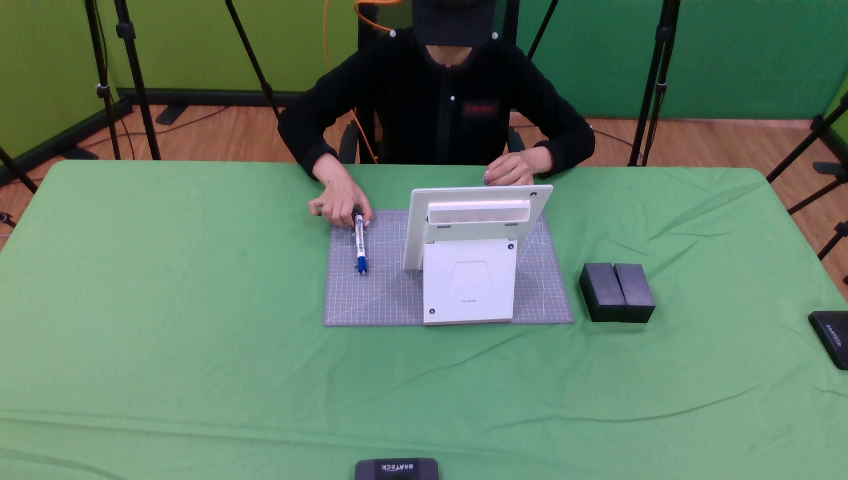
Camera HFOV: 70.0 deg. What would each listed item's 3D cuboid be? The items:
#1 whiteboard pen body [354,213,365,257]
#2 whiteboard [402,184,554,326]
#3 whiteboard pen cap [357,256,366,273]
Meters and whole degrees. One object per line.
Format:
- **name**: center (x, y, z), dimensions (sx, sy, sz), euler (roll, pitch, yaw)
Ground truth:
- **whiteboard pen body**: center (-0.126, 0.001, 1.183), dimensions (0.017, 0.017, 0.140), euler (-4, 49, -7)
- **whiteboard**: center (0.081, 0.044, 1.005), dimensions (0.217, 0.306, 0.143), euler (-1, 65, -6)
- **whiteboard pen cap**: center (-0.118, 0.045, 1.145), dimensions (0.018, 0.018, 0.033), euler (-4, 48, -7)
